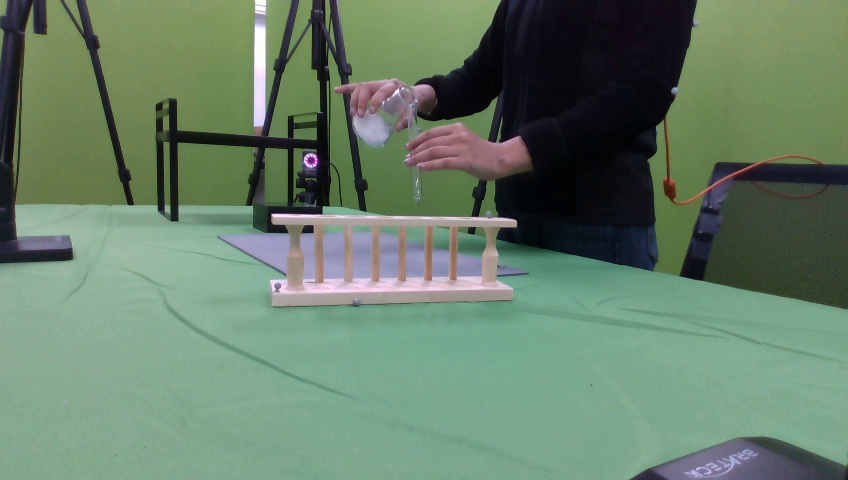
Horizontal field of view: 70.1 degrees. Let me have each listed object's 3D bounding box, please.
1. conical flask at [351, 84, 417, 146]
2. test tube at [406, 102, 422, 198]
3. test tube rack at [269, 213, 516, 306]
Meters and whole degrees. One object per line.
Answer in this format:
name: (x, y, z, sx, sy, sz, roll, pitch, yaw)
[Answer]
conical flask: (-0.062, -0.212, 0.997, 0.076, 0.075, 0.121, -4, -16, -39)
test tube: (-0.015, -0.139, 0.932, 0.017, 0.150, 0.017, -4, -6, 0)
test tube rack: (-0.032, 0.015, 0.617, 0.243, 0.085, 0.066, 0, 7, -17)
